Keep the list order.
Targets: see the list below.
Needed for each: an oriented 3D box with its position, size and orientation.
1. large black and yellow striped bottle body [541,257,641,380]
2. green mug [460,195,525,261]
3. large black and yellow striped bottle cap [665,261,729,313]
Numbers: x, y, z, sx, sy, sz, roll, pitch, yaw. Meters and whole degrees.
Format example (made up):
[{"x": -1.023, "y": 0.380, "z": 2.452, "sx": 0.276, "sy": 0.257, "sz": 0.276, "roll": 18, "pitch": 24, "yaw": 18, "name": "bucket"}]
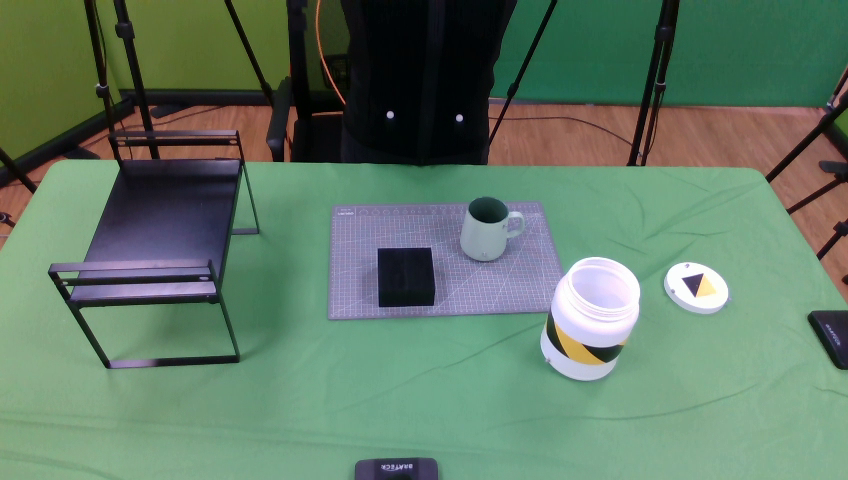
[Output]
[{"x": 0.269, "y": 0.127, "z": 0.982, "sx": 0.131, "sy": 0.185, "sz": 0.130, "roll": 2, "pitch": 47, "yaw": -2, "name": "large black and yellow striped bottle body"}, {"x": 0.135, "y": -0.024, "z": 1.168, "sx": 0.125, "sy": 0.105, "sz": 0.092, "roll": -8, "pitch": 47, "yaw": -11, "name": "green mug"}, {"x": 0.519, "y": 0.087, "z": 1.152, "sx": 0.115, "sy": 0.019, "sz": 0.114, "roll": 2, "pitch": 47, "yaw": -2, "name": "large black and yellow striped bottle cap"}]
